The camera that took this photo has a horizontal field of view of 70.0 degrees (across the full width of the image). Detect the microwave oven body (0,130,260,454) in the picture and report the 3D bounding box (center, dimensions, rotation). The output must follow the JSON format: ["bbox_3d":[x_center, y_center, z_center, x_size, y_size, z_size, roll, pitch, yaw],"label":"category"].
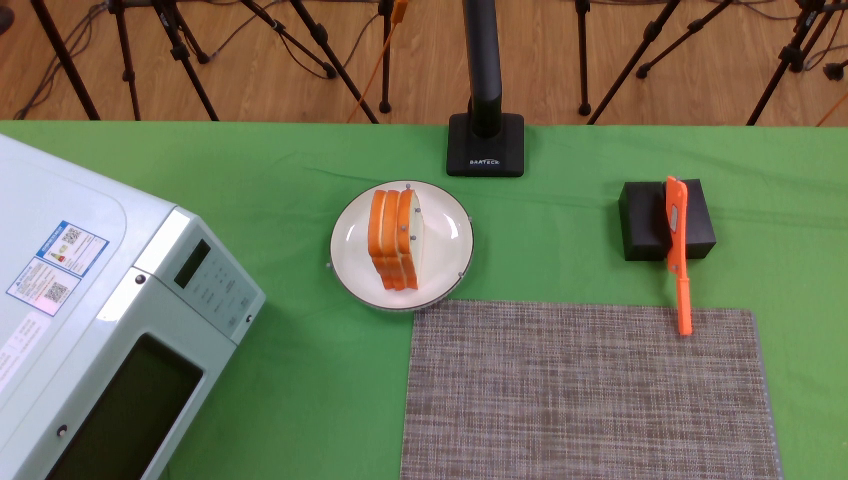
[{"bbox_3d":[-0.463,0.145,0.710,0.324,0.262,0.439,21,68,14],"label":"microwave oven body"}]

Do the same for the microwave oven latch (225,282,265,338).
[{"bbox_3d":[-0.247,0.092,0.826,0.030,0.030,0.079,21,68,14],"label":"microwave oven latch"}]

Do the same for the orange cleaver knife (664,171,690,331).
[{"bbox_3d":[0.334,0.013,0.807,0.012,0.077,0.211,-4,93,3],"label":"orange cleaver knife"}]

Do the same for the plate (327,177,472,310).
[{"bbox_3d":[-0.033,0.007,0.870,0.207,0.039,0.206,-2,64,4],"label":"plate"}]

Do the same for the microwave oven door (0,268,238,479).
[{"bbox_3d":[-0.349,0.227,0.654,0.039,0.246,0.354,20,67,15],"label":"microwave oven door"}]

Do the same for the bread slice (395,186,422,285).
[{"bbox_3d":[-0.019,-0.008,0.814,0.018,0.135,0.106,-1,67,7],"label":"bread slice"}]
